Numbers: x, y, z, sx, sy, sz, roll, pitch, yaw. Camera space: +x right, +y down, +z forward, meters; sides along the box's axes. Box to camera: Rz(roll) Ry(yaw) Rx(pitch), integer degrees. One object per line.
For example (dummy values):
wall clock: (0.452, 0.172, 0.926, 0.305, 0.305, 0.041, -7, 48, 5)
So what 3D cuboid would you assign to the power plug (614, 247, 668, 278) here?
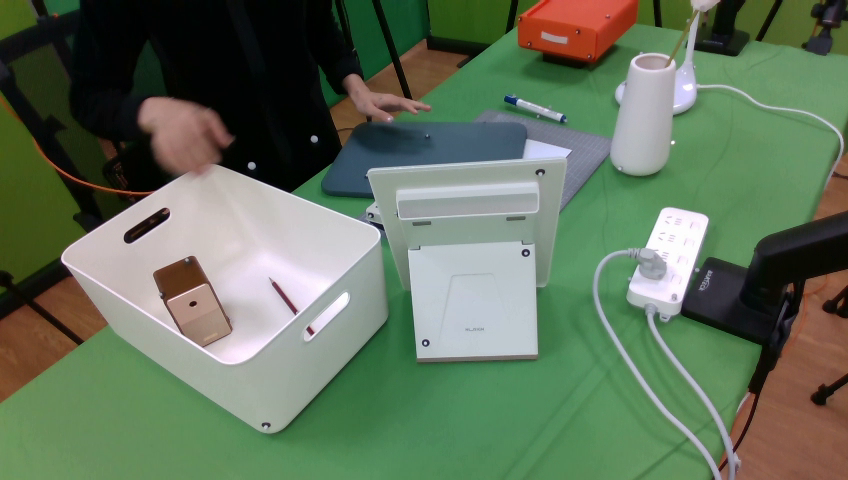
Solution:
power plug: (0.306, 0.031, 0.851, 0.072, 0.053, 0.035, 24, 49, 33)

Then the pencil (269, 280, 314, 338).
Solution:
pencil: (-0.187, 0.106, 0.880, 0.012, 0.012, 0.192, -28, 42, -23)

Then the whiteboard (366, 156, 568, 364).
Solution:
whiteboard: (0.059, 0.050, 0.738, 0.217, 0.307, 0.143, -2, 60, 5)

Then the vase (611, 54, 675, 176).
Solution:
vase: (0.377, -0.209, 1.031, 0.098, 0.201, 0.097, -3, 40, 3)

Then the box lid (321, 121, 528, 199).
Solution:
box lid: (0.009, -0.158, 1.167, 0.370, 0.015, 0.262, 3, 41, 13)

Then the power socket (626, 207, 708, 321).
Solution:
power socket: (0.359, 0.025, 0.886, 0.072, 0.033, 0.227, 16, 46, 26)

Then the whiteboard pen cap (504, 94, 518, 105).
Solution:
whiteboard pen cap: (0.190, -0.299, 1.292, 0.033, 0.018, 0.018, 30, 52, 28)

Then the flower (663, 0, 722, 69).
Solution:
flower: (0.379, -0.261, 0.965, 0.044, 0.362, 0.038, 20, 53, 5)

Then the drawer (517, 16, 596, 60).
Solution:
drawer: (0.353, -0.506, 1.405, 0.193, 0.073, 0.212, 23, 49, 32)

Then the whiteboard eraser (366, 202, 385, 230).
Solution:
whiteboard eraser: (-0.038, -0.038, 1.006, 0.112, 0.042, 0.055, 16, 48, 25)

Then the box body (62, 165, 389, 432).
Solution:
box body: (-0.255, 0.065, 0.827, 0.361, 0.161, 0.255, 21, 48, 29)

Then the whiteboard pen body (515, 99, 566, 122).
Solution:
whiteboard pen body: (0.233, -0.274, 1.262, 0.139, 0.017, 0.017, 28, 51, 29)

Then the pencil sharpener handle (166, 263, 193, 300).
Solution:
pencil sharpener handle: (-0.352, 0.053, 0.868, 0.036, 0.068, 0.030, -17, 40, -28)

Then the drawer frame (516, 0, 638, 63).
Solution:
drawer frame: (0.355, -0.508, 1.411, 0.200, 0.083, 0.214, 23, 51, 32)

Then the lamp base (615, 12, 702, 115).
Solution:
lamp base: (0.484, -0.364, 1.211, 0.180, 0.181, 0.159, -15, 41, -14)

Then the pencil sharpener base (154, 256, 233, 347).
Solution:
pencil sharpener base: (-0.321, 0.087, 0.843, 0.061, 0.107, 0.076, -27, 44, -20)
